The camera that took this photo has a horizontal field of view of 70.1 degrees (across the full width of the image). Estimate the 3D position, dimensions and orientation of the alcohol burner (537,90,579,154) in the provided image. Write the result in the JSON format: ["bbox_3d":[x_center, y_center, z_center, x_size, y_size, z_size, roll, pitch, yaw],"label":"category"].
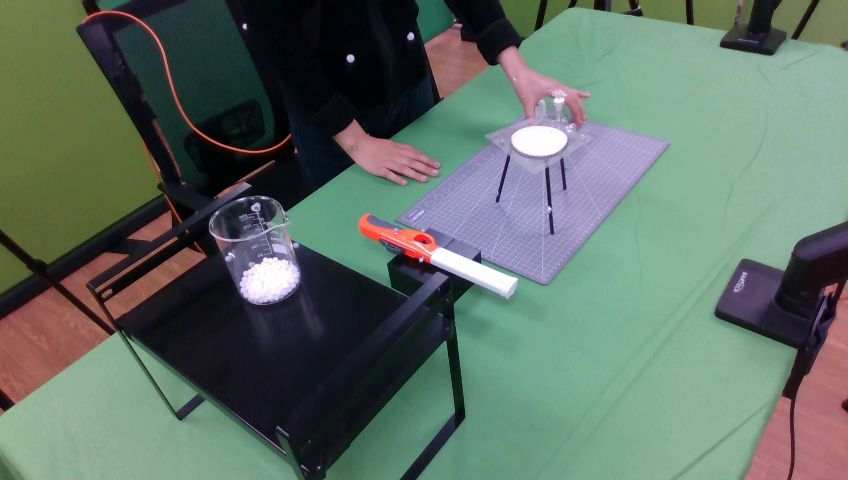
[{"bbox_3d":[0.248,-0.220,1.121,0.078,0.119,0.077,-5,39,5],"label":"alcohol burner"}]

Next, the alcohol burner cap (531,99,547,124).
[{"bbox_3d":[0.234,-0.264,1.231,0.034,0.048,0.033,-5,40,5],"label":"alcohol burner cap"}]

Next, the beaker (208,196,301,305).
[{"bbox_3d":[-0.173,0.014,0.647,0.084,0.101,0.073,-1,41,8],"label":"beaker"}]

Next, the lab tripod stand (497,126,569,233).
[{"bbox_3d":[0.188,-0.104,0.979,0.148,0.132,0.147,-3,41,3],"label":"lab tripod stand"}]

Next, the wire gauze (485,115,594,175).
[{"bbox_3d":[0.177,-0.154,0.935,0.122,0.011,0.124,-26,45,-21],"label":"wire gauze"}]

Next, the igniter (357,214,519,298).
[{"bbox_3d":[0.009,0.018,0.876,0.274,0.025,0.057,23,46,28],"label":"igniter"}]
